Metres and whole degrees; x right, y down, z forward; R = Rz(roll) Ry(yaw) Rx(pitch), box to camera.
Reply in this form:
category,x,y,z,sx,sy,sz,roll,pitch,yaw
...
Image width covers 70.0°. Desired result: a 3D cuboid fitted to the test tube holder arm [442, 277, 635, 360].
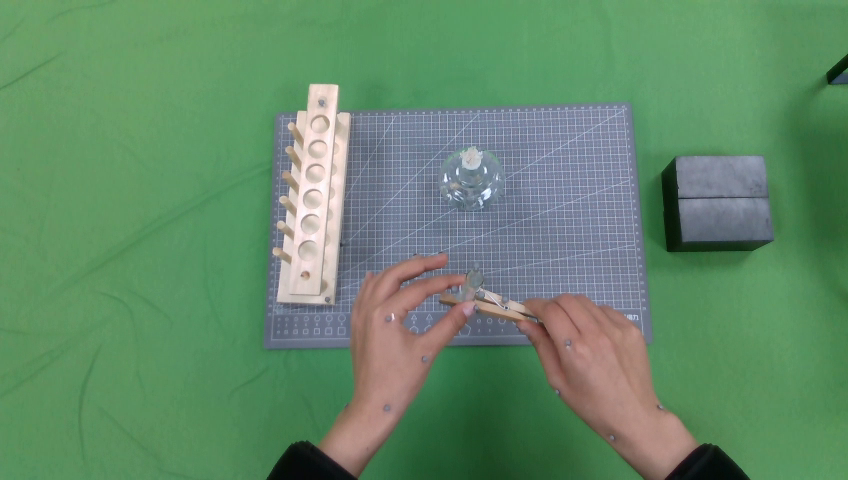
category,x,y,z,sx,sy,sz,roll,pitch,yaw
test tube holder arm,0.100,0.069,0.537,0.178,0.015,0.013,19,76,5

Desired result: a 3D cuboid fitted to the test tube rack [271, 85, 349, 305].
category,x,y,z,sx,sy,sz,roll,pitch,yaw
test tube rack,-0.136,-0.050,0.705,0.067,0.085,0.241,2,77,3

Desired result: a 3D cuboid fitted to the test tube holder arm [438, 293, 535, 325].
category,x,y,z,sx,sy,sz,roll,pitch,yaw
test tube holder arm,0.056,0.062,0.539,0.088,0.015,0.010,11,75,3

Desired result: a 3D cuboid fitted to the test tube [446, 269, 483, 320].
category,x,y,z,sx,sy,sz,roll,pitch,yaw
test tube,0.035,0.053,0.549,0.017,0.151,0.017,1,72,-4

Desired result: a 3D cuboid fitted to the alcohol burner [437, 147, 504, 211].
category,x,y,z,sx,sy,sz,roll,pitch,yaw
alcohol burner,0.052,-0.075,0.688,0.078,0.119,0.077,-1,78,3
